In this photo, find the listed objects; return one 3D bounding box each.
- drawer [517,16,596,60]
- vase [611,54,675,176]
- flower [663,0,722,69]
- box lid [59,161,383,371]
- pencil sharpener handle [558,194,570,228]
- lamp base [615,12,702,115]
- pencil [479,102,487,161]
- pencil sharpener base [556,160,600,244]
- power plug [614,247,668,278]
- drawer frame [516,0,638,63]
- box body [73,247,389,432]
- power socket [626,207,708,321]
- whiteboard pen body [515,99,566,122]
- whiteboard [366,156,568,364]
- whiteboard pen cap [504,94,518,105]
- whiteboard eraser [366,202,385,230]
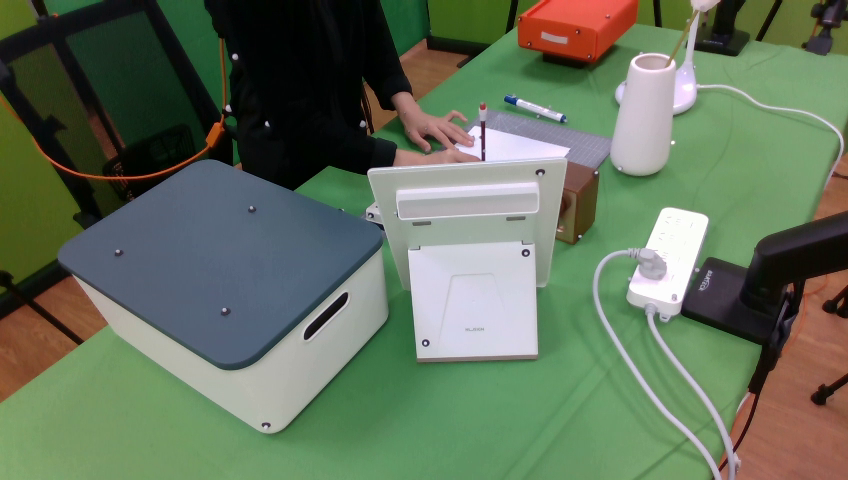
[{"bbox_3d":[0.353,-0.506,1.405,0.193,0.073,0.212,23,49,32],"label":"drawer"},{"bbox_3d":[0.377,-0.209,1.031,0.098,0.201,0.097,-3,40,3],"label":"vase"},{"bbox_3d":[0.379,-0.261,0.965,0.044,0.362,0.038,20,53,5],"label":"flower"},{"bbox_3d":[-0.262,0.010,0.777,0.369,0.015,0.264,21,48,29],"label":"box lid"},{"bbox_3d":[0.195,-0.038,0.908,0.035,0.068,0.031,24,50,30],"label":"pencil sharpener handle"},{"bbox_3d":[0.484,-0.363,1.211,0.180,0.181,0.159,-15,41,-14],"label":"lamp base"},{"bbox_3d":[0.096,-0.140,0.985,0.012,0.195,0.012,-3,45,3],"label":"pencil"},{"bbox_3d":[0.228,-0.057,0.945,0.061,0.107,0.077,24,50,31],"label":"pencil sharpener base"},{"bbox_3d":[0.306,0.031,0.851,0.072,0.053,0.035,24,49,33],"label":"power plug"},{"bbox_3d":[0.355,-0.508,1.411,0.200,0.083,0.214,23,51,32],"label":"drawer frame"},{"bbox_3d":[-0.255,0.065,0.827,0.361,0.161,0.255,21,48,29],"label":"box body"},{"bbox_3d":[0.359,0.025,0.886,0.072,0.033,0.227,16,46,26],"label":"power socket"},{"bbox_3d":[0.234,-0.274,1.262,0.139,0.017,0.017,28,51,29],"label":"whiteboard pen body"},{"bbox_3d":[0.059,0.050,0.738,0.217,0.307,0.143,-2,60,6],"label":"whiteboard"},{"bbox_3d":[0.190,-0.299,1.292,0.033,0.018,0.018,30,52,28],"label":"whiteboard pen cap"},{"bbox_3d":[-0.037,-0.038,1.006,0.112,0.042,0.055,16,47,25],"label":"whiteboard eraser"}]
